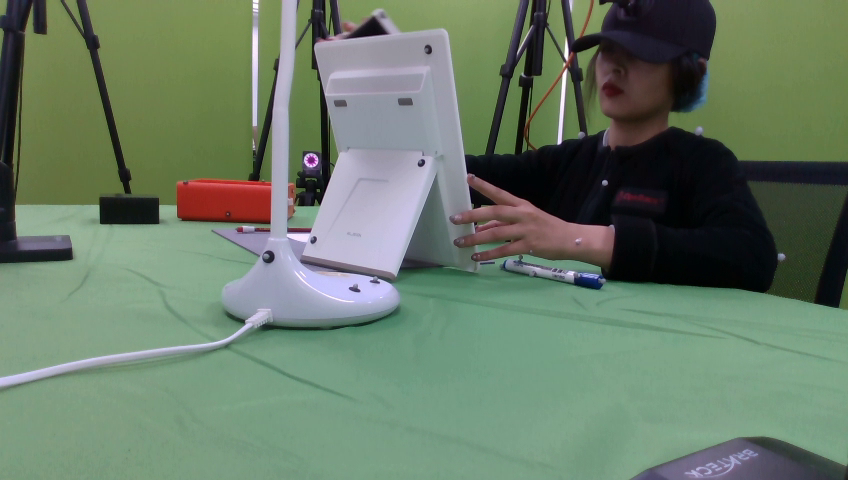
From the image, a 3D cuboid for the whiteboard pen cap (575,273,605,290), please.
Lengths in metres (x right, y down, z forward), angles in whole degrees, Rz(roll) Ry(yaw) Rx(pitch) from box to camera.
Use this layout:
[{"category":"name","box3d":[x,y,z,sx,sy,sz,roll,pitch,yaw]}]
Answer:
[{"category":"whiteboard pen cap","box3d":[0.197,0.048,0.719,0.018,0.018,0.033,-4,11,-41]}]

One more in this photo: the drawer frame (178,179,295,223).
[{"category":"drawer frame","box3d":[-0.397,-0.088,1.315,0.214,0.082,0.201,1,8,-7]}]

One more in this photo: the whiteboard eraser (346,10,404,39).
[{"category":"whiteboard eraser","box3d":[-0.077,-0.272,0.851,0.112,0.056,0.042,-16,31,44]}]

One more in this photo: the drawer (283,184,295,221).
[{"category":"drawer","box3d":[-0.394,-0.087,1.317,0.212,0.073,0.194,1,8,-7]}]

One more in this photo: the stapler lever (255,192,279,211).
[{"category":"stapler lever","box3d":[-0.338,-0.088,1.305,0.027,0.040,0.118,1,11,-1]}]

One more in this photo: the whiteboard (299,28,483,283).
[{"category":"whiteboard","box3d":[-0.075,-0.082,0.741,0.216,0.305,0.144,9,30,38]}]

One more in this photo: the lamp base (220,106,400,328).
[{"category":"lamp base","box3d":[-0.101,-0.023,0.531,0.160,0.180,0.179,4,10,10]}]

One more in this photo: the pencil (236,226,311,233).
[{"category":"pencil","box3d":[-0.239,-0.017,1.093,0.195,0.012,0.012,1,7,-27]}]

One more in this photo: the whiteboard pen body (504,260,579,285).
[{"category":"whiteboard pen body","box3d":[0.157,0.042,0.763,0.017,0.017,0.140,-4,10,-41]}]

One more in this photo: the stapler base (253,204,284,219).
[{"category":"stapler base","box3d":[-0.337,-0.065,1.308,0.041,0.024,0.130,1,9,-1]}]
